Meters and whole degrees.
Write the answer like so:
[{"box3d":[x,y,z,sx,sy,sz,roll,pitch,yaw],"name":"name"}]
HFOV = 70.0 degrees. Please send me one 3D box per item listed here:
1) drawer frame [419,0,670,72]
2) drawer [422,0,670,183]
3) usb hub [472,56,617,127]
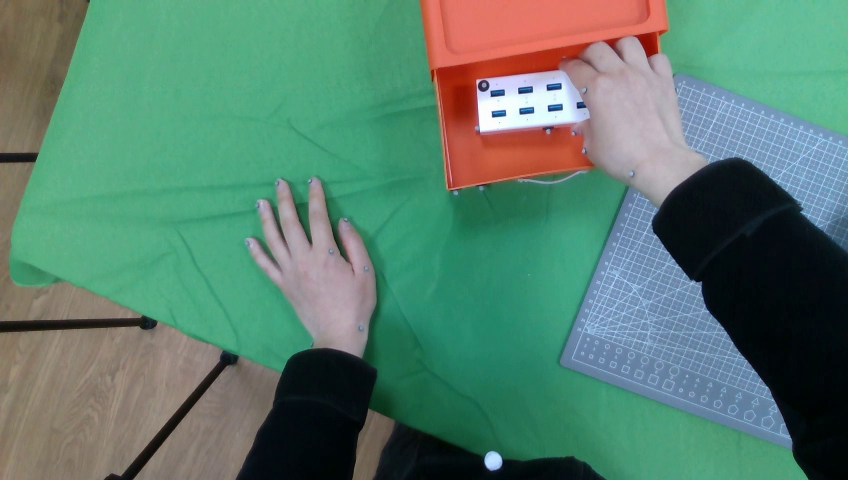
[{"box3d":[0.086,-0.265,0.518,0.201,0.082,0.214,-10,96,2],"name":"drawer frame"},{"box3d":[0.101,-0.163,0.531,0.194,0.073,0.212,-7,97,2],"name":"drawer"},{"box3d":[0.107,-0.134,0.548,0.125,0.025,0.049,-4,94,7],"name":"usb hub"}]
